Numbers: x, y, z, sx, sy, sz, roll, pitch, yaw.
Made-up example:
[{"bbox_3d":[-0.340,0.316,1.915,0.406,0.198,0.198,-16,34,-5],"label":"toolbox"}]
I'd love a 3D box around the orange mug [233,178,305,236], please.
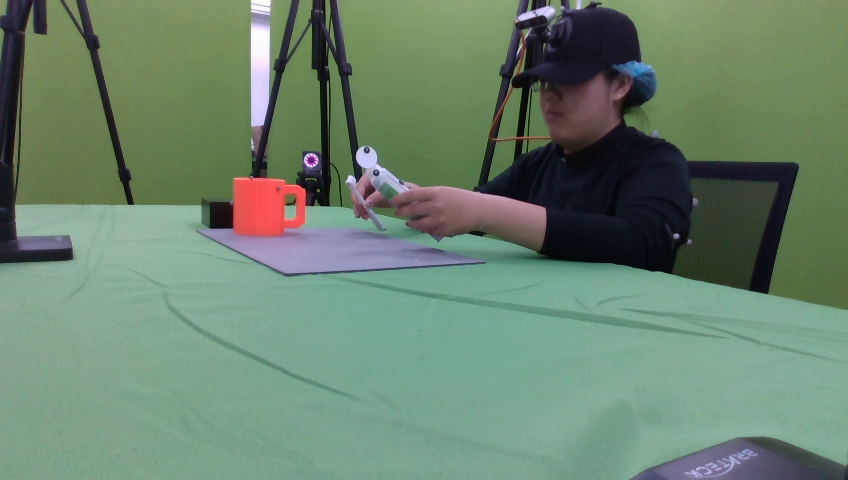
[{"bbox_3d":[-0.273,-0.061,1.067,0.127,0.101,0.083,-5,10,-24],"label":"orange mug"}]

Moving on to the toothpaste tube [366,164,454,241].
[{"bbox_3d":[-0.026,-0.064,0.961,0.034,0.165,0.055,-52,4,-34],"label":"toothpaste tube"}]

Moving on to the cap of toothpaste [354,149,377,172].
[{"bbox_3d":[-0.091,-0.123,0.937,0.037,0.037,0.011,0,1,-19],"label":"cap of toothpaste"}]

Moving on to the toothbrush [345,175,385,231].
[{"bbox_3d":[-0.103,-0.063,1.095,0.014,0.016,0.182,4,-26,19],"label":"toothbrush"}]
